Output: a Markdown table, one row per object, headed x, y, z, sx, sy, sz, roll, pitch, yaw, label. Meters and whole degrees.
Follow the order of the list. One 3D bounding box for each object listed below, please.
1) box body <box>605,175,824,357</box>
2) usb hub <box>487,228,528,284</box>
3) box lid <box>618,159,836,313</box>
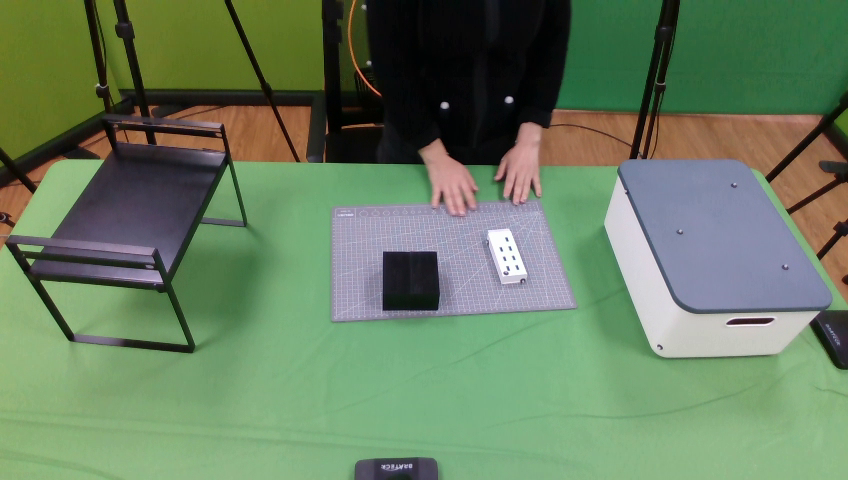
| x | y | z | sx | sy | sz | roll | pitch | yaw | label |
| --- | --- | --- | --- | --- | --- | --- | --- | --- | --- |
| 0.505 | 0.028 | 1.108 | 0.254 | 0.161 | 0.361 | -1 | 46 | -4 | box body |
| 0.159 | 0.029 | 1.173 | 0.049 | 0.025 | 0.124 | -5 | 46 | -9 | usb hub |
| 0.508 | -0.024 | 1.056 | 0.263 | 0.015 | 0.369 | -1 | 46 | -5 | box lid |
